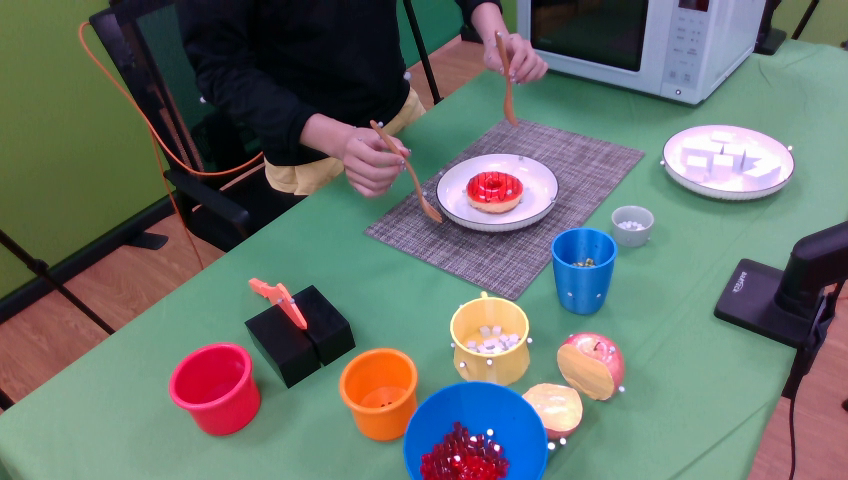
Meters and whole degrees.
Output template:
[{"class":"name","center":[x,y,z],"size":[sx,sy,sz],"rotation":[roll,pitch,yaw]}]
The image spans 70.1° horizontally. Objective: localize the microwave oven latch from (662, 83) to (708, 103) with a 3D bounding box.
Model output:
[{"class":"microwave oven latch","center":[0.518,-0.296,1.204],"size":[0.078,0.029,0.030],"rotation":[27,52,35]}]

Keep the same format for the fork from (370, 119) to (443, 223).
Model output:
[{"class":"fork","center":[-0.022,-0.094,0.866],"size":[0.018,0.209,0.028],"rotation":[-19,43,16]}]

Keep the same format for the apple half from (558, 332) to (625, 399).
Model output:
[{"class":"apple half","center":[0.209,0.147,0.731],"size":[0.080,0.075,0.053],"rotation":[25,46,38]}]

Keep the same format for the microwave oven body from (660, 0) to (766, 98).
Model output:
[{"class":"microwave oven body","center":[0.472,-0.513,1.317],"size":[0.438,0.261,0.327],"rotation":[26,51,34]}]

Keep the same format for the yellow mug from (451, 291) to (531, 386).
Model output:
[{"class":"yellow mug","center":[0.086,0.120,0.786],"size":[0.100,0.064,0.130],"rotation":[-7,39,1]}]

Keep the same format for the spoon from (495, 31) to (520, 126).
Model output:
[{"class":"spoon","center":[0.135,-0.258,0.980],"size":[0.021,0.195,0.041],"rotation":[-23,51,-3]}]

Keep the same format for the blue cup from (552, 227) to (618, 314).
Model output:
[{"class":"blue cup","center":[0.218,0.047,0.825],"size":[0.092,0.101,0.092],"rotation":[-6,40,5]}]

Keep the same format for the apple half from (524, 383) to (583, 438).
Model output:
[{"class":"apple half","center":[0.149,0.204,0.704],"size":[0.081,0.033,0.081],"rotation":[-10,25,5]}]

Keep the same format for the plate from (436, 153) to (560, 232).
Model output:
[{"class":"plate","center":[0.125,-0.078,1.029],"size":[0.209,0.038,0.208],"rotation":[-4,40,4]}]

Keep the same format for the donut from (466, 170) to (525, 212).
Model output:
[{"class":"donut","center":[0.121,-0.084,1.019],"size":[0.099,0.048,0.098],"rotation":[-4,39,3]}]

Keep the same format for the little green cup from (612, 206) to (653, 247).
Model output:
[{"class":"little green cup","center":[0.321,-0.019,0.936],"size":[0.061,0.039,0.061],"rotation":[-4,40,4]}]

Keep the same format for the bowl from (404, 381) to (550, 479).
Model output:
[{"class":"bowl","center":[0.058,0.235,0.645],"size":[0.151,0.077,0.150],"rotation":[-4,39,4]}]

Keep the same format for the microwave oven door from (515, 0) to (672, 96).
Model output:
[{"class":"microwave oven door","center":[0.343,-0.454,1.259],"size":[0.353,0.245,0.039],"rotation":[26,51,33]}]

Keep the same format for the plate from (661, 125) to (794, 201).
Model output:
[{"class":"plate","center":[0.513,-0.128,1.035],"size":[0.207,0.039,0.206],"rotation":[-4,40,4]}]

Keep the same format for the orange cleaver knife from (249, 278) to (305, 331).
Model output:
[{"class":"orange cleaver knife","center":[-0.210,0.088,0.856],"size":[0.012,0.077,0.210],"rotation":[-28,15,-25]}]
